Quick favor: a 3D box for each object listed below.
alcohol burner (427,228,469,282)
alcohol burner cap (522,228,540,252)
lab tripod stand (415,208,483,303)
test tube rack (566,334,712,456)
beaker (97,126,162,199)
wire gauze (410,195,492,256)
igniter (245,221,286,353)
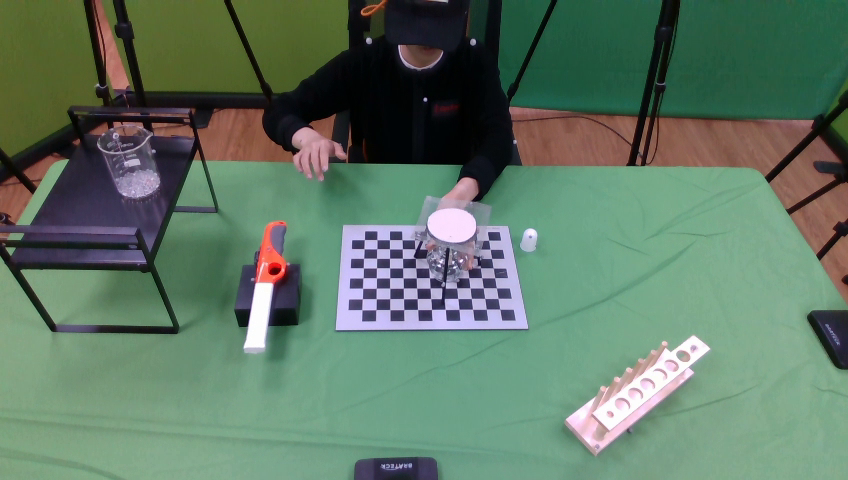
[{"bbox_3d":[0.045,0.022,1.108,0.078,0.119,0.077,3,45,-3],"label":"alcohol burner"},{"bbox_3d":[0.214,-0.003,1.198,0.034,0.048,0.033,1,46,-1],"label":"alcohol burner cap"},{"bbox_3d":[0.043,0.019,1.097,0.148,0.132,0.147,0,46,0],"label":"lab tripod stand"},{"bbox_3d":[0.338,0.228,0.950,0.242,0.085,0.066,-26,52,-26],"label":"test tube rack"},{"bbox_3d":[-0.468,-0.124,0.979,0.084,0.101,0.073,-25,53,-26],"label":"beaker"},{"bbox_3d":[0.049,-0.031,1.051,0.125,0.011,0.121,12,47,10],"label":"wire gauze"},{"bbox_3d":[-0.270,0.070,1.040,0.057,0.025,0.274,2,48,-6],"label":"igniter"}]
